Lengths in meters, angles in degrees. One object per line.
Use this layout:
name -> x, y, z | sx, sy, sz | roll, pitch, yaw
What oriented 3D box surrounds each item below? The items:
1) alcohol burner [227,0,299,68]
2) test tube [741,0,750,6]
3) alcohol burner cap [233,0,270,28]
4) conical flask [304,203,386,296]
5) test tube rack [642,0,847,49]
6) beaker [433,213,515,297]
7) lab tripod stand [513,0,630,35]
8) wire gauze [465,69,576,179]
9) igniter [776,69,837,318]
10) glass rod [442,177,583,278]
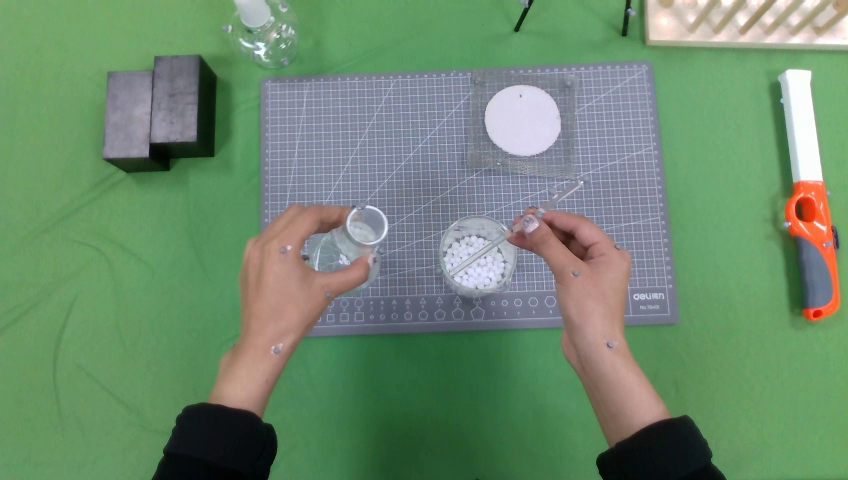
alcohol burner -> -0.179, -0.237, 0.656 | 0.078, 0.119, 0.077 | 0, 81, 3
test tube -> 0.358, -0.287, 0.621 | 0.017, 0.151, 0.017 | -1, 79, 4
alcohol burner cap -> -0.180, -0.246, 0.622 | 0.034, 0.048, 0.033 | 0, 74, 1
conical flask -> -0.067, 0.004, 0.556 | 0.075, 0.122, 0.075 | 5, 72, -17
test tube rack -> 0.376, -0.263, 0.666 | 0.242, 0.085, 0.066 | 1, 79, 1
beaker -> 0.051, 0.022, 0.613 | 0.074, 0.100, 0.083 | -38, 82, -5
lab tripod stand -> 0.169, -0.288, 0.650 | 0.148, 0.132, 0.148 | 0, 82, 2
wire gauze -> 0.110, -0.134, 0.685 | 0.125, 0.011, 0.121 | 6, 80, -1
igniter -> 0.415, -0.054, 0.660 | 0.057, 0.025, 0.275 | 1, 80, -8
glass rod -> 0.069, -0.005, 0.536 | 0.008, 0.200, 0.008 | 16, 58, -26
